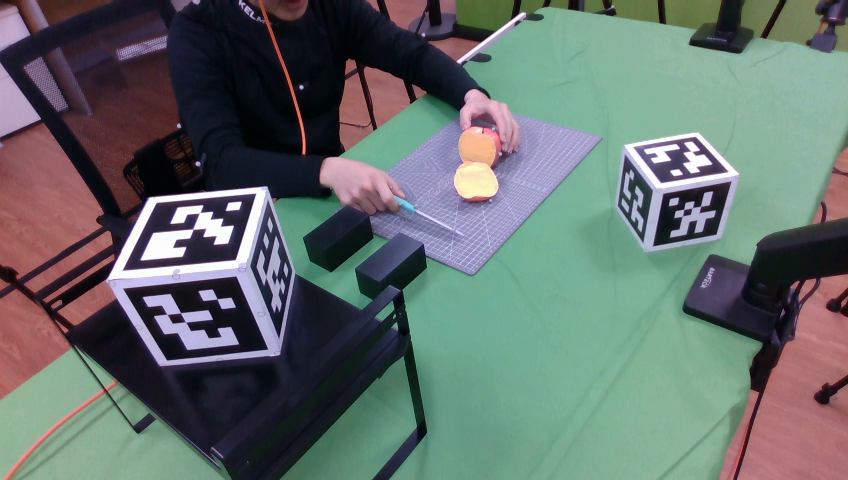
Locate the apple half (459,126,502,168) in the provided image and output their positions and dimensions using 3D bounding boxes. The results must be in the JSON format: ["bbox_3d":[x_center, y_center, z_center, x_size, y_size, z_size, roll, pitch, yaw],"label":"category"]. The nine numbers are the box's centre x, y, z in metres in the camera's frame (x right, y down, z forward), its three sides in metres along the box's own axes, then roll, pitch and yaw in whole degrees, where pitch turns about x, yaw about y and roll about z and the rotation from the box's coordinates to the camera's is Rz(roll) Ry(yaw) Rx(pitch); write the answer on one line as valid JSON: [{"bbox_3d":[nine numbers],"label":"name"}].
[{"bbox_3d":[0.110,-0.171,1.112,0.080,0.075,0.053,16,30,28],"label":"apple half"}]

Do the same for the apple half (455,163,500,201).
[{"bbox_3d":[0.090,-0.096,1.053,0.081,0.033,0.081,3,59,-4],"label":"apple half"}]

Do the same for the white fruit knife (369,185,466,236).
[{"bbox_3d":[-0.015,-0.049,1.014,0.206,0.016,0.027,27,8,26],"label":"white fruit knife"}]
